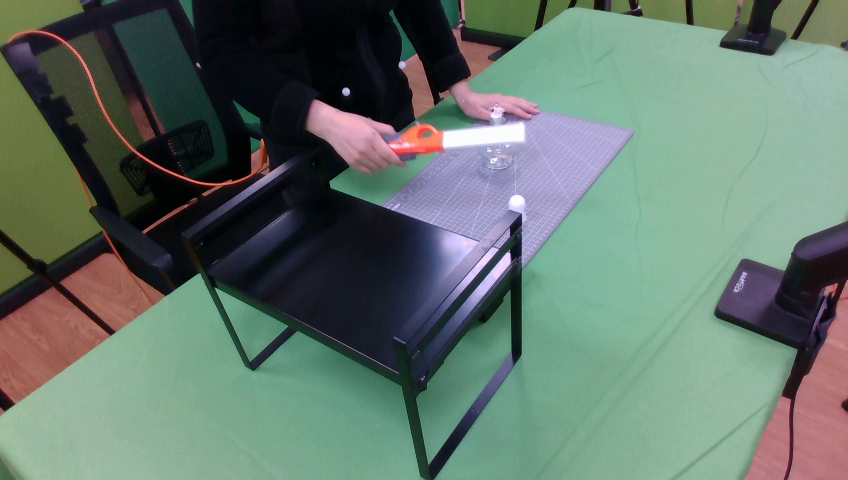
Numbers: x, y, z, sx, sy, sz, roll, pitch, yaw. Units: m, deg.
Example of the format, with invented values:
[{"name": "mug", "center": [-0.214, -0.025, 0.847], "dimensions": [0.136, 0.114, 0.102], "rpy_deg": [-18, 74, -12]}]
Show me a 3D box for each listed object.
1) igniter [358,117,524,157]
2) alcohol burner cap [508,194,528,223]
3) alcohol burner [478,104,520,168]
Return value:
[{"name": "igniter", "center": [0.020, -0.164, 0.960], "dimensions": [0.275, 0.025, 0.057], "rpy_deg": [-3, 73, 19]}, {"name": "alcohol burner cap", "center": [0.155, -0.054, 0.996], "dimensions": [0.034, 0.048, 0.033], "rpy_deg": [-4, 39, 4]}, {"name": "alcohol burner", "center": [0.137, -0.193, 1.106], "dimensions": [0.078, 0.119, 0.077], "rpy_deg": [-4, 39, 4]}]
